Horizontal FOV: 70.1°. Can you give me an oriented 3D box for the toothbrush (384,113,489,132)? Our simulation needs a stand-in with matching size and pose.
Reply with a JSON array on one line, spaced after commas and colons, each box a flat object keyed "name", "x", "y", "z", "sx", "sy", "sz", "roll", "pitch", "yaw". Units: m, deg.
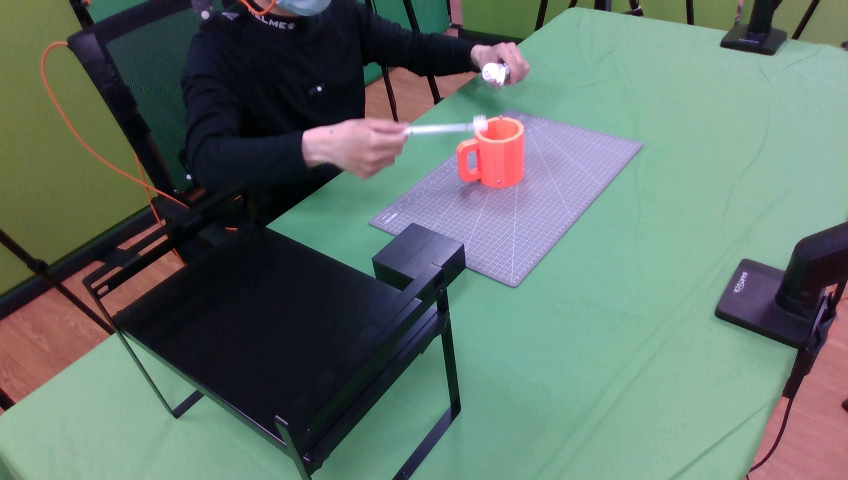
[{"name": "toothbrush", "x": 0.016, "y": -0.183, "z": 0.948, "sx": 0.181, "sy": 0.017, "sz": 0.014, "roll": 0, "pitch": 38, "yaw": 27}]

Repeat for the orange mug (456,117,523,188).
[{"name": "orange mug", "x": 0.117, "y": -0.152, "z": 1.071, "sx": 0.127, "sy": 0.101, "sz": 0.083, "roll": -14, "pitch": 41, "yaw": -15}]

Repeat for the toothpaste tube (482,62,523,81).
[{"name": "toothpaste tube", "x": 0.153, "y": -0.338, "z": 1.205, "sx": 0.055, "sy": 0.034, "sz": 0.165, "roll": -1, "pitch": 16, "yaw": 24}]

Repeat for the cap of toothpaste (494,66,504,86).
[{"name": "cap of toothpaste", "x": 0.139, "y": -0.306, "z": 1.123, "sx": 0.011, "sy": 0.037, "sz": 0.037, "roll": 10, "pitch": 39, "yaw": -10}]
